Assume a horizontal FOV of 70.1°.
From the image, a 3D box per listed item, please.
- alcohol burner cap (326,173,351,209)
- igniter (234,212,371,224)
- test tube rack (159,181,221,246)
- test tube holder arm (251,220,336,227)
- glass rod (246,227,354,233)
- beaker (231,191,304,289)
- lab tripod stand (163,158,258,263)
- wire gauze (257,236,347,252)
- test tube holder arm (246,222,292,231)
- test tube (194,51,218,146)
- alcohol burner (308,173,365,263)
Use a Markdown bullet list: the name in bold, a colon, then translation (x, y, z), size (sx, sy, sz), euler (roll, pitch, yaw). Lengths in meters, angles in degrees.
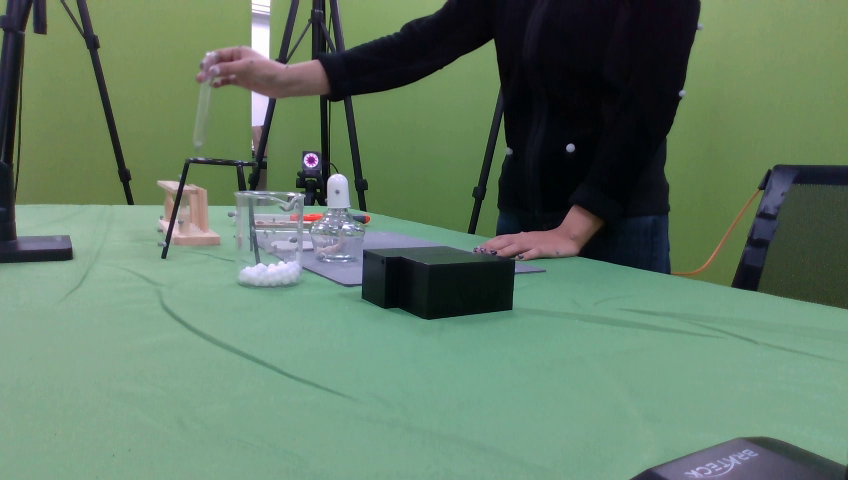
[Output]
- **alcohol burner cap**: translation (-0.116, -0.065, 0.807), size (0.034, 0.048, 0.034), euler (-4, 10, 1)
- **igniter**: translation (-0.245, -0.045, 1.247), size (0.278, 0.025, 0.057), euler (-1, -2, -25)
- **test tube rack**: translation (-0.395, -0.050, 1.010), size (0.067, 0.085, 0.241), euler (-2, 8, -28)
- **test tube holder arm**: translation (-0.254, -0.031, 1.156), size (0.179, 0.015, 0.013), euler (-2, 44, -30)
- **glass rod**: translation (-0.224, -0.017, 1.109), size (0.201, 0.008, 0.008), euler (1, 7, -27)
- **beaker**: translation (-0.167, -0.001, 0.653), size (0.074, 0.100, 0.083), euler (-4, 10, -40)
- **lab tripod stand**: translation (-0.265, -0.041, 0.802), size (0.148, 0.131, 0.148), euler (4, 7, 0)
- **wire gauze**: translation (-0.189, 0.006, 0.931), size (0.122, 0.011, 0.124), euler (1, 7, -21)
- **test tube holder arm**: translation (-0.291, -0.026, 1.130), size (0.088, 0.015, 0.010), euler (-2, 44, -30)
- **test tube**: translation (-0.345, -0.224, 0.956), size (0.017, 0.150, 0.017), euler (8, -2, 1)
- **alcohol burner**: translation (-0.117, -0.030, 0.813), size (0.078, 0.119, 0.078), euler (4, 9, 0)
